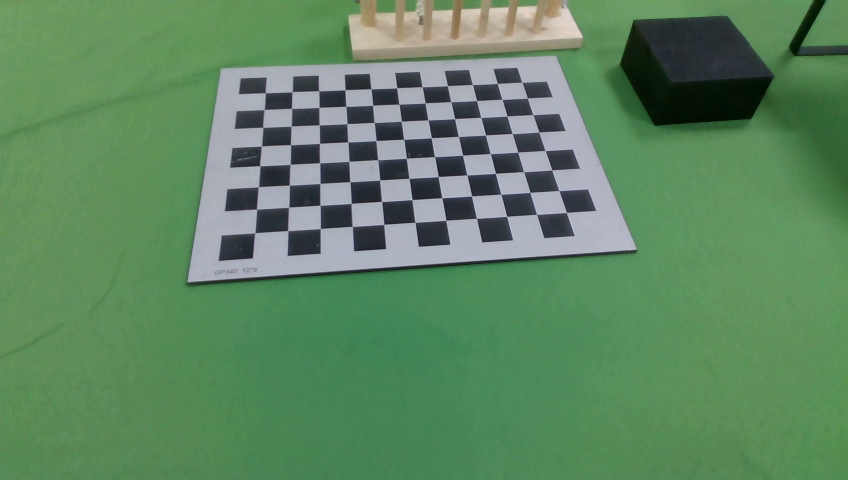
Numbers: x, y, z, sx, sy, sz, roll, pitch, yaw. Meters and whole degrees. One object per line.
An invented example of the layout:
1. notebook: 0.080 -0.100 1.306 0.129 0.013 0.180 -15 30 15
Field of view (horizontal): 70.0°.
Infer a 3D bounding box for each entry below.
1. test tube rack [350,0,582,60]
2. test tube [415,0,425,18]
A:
1. test tube rack: 0.045 -0.247 0.623 0.243 0.086 0.066 -5 51 -6
2. test tube: 0.004 -0.290 0.592 0.017 0.151 0.017 4 47 -4
